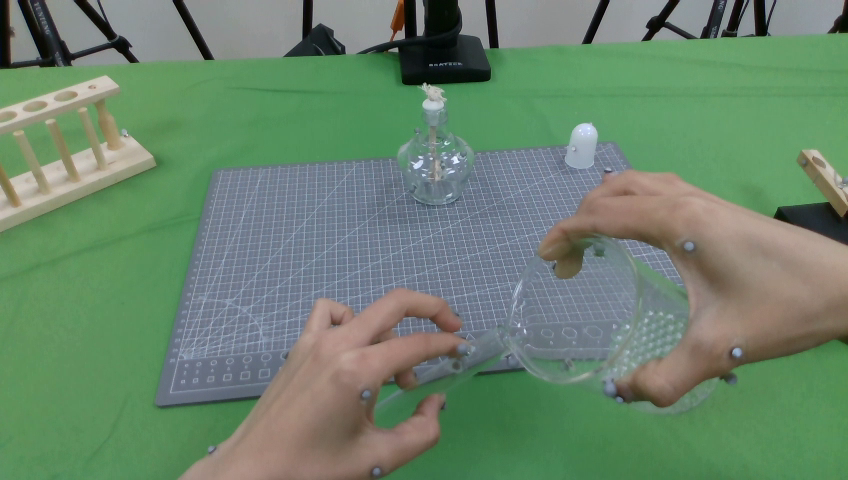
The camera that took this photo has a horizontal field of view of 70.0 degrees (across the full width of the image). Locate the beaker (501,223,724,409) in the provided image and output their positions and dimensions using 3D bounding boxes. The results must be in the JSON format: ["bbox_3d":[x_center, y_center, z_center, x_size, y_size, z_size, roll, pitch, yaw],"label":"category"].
[{"bbox_3d":[0.100,0.046,0.316,0.101,0.084,0.073,26,48,-36],"label":"beaker"}]

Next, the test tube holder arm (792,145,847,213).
[{"bbox_3d":[0.360,-0.057,0.548,0.010,0.015,0.087,-8,42,4],"label":"test tube holder arm"}]

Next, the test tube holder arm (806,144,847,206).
[{"bbox_3d":[0.368,-0.027,0.515,0.013,0.015,0.176,-8,42,3],"label":"test tube holder arm"}]

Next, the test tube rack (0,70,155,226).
[{"bbox_3d":[-0.404,-0.077,0.590,0.242,0.086,0.066,-33,52,-31],"label":"test tube rack"}]

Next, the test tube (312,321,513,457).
[{"bbox_3d":[-0.012,0.088,0.342,0.150,0.017,0.017,-37,35,25],"label":"test tube"}]

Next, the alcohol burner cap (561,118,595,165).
[{"bbox_3d":[0.167,-0.109,0.653,0.034,0.048,0.033,0,42,0],"label":"alcohol burner cap"}]

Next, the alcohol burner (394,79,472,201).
[{"bbox_3d":[0.008,-0.099,0.589,0.078,0.120,0.077,-1,41,1],"label":"alcohol burner"}]
